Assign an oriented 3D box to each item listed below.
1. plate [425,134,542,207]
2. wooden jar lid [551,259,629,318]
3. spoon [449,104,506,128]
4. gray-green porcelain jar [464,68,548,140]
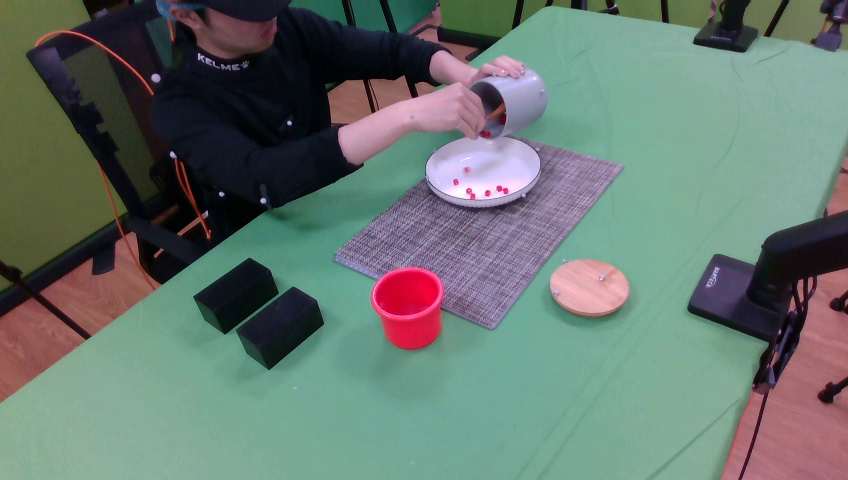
[{"bbox_3d":[0.106,-0.122,1.079,0.207,0.039,0.206,-4,41,4],"label":"plate"},{"bbox_3d":[0.234,0.070,0.857,0.108,0.021,0.108,-5,40,5],"label":"wooden jar lid"},{"bbox_3d":[0.114,-0.216,1.053,0.195,0.022,0.041,-28,27,-38],"label":"spoon"},{"bbox_3d":[0.152,-0.249,1.089,0.127,0.106,0.105,-28,44,-35],"label":"gray-green porcelain jar"}]
